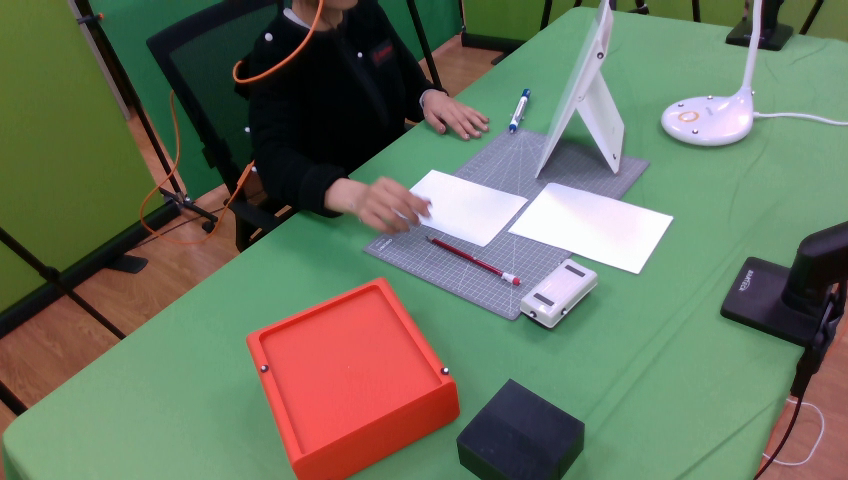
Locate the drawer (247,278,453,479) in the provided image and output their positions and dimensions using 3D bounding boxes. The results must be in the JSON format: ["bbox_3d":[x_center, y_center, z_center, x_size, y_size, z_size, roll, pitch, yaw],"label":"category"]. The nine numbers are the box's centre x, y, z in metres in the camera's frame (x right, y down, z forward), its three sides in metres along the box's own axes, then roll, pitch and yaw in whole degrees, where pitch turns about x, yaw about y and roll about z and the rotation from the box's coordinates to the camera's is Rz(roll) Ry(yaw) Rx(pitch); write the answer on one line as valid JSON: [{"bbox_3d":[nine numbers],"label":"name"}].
[{"bbox_3d":[-0.096,0.167,0.758,0.195,0.073,0.210,-22,43,-16],"label":"drawer"}]

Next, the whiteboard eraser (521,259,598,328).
[{"bbox_3d":[0.189,0.076,0.843,0.055,0.042,0.113,29,53,37],"label":"whiteboard eraser"}]

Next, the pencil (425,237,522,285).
[{"bbox_3d":[0.071,0.029,0.941,0.192,0.012,0.012,26,51,37],"label":"pencil"}]

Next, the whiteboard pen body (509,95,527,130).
[{"bbox_3d":[0.199,-0.273,1.261,0.017,0.017,0.140,8,44,19],"label":"whiteboard pen body"}]

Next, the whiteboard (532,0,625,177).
[{"bbox_3d":[0.321,-0.258,1.050,0.144,0.306,0.217,21,45,5],"label":"whiteboard"}]

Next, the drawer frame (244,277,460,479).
[{"bbox_3d":[-0.093,0.167,0.755,0.202,0.083,0.211,-23,43,-17],"label":"drawer frame"}]

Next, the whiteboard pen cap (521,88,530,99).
[{"bbox_3d":[0.218,-0.312,1.301,0.018,0.018,0.033,6,46,18],"label":"whiteboard pen cap"}]

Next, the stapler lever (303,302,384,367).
[{"bbox_3d":[-0.108,0.124,0.805,0.118,0.040,0.026,-27,36,-15],"label":"stapler lever"}]

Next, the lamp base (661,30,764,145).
[{"bbox_3d":[0.535,-0.287,1.096,0.179,0.181,0.159,-10,40,-4],"label":"lamp base"}]

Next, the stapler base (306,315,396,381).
[{"bbox_3d":[-0.101,0.139,0.819,0.131,0.024,0.041,-31,37,-13],"label":"stapler base"}]
